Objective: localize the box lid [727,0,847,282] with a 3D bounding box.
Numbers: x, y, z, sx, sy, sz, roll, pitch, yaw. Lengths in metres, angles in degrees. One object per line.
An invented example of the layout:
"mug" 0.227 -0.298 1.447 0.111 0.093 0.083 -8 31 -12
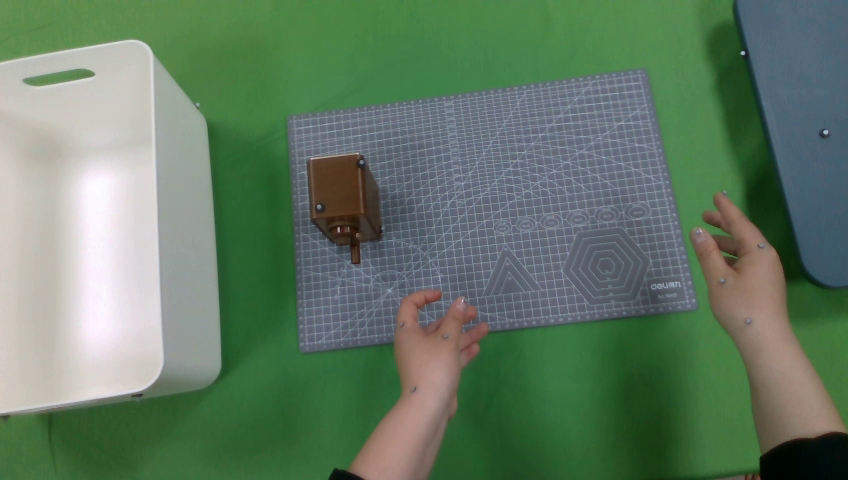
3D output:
"box lid" 0.499 -0.146 0.663 0.263 0.015 0.369 -7 76 2

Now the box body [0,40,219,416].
"box body" -0.377 -0.001 0.661 0.254 0.161 0.362 -10 76 2

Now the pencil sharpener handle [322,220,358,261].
"pencil sharpener handle" -0.085 0.002 0.650 0.036 0.068 0.030 -9 75 10

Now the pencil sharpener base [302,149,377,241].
"pencil sharpener base" -0.092 -0.044 0.674 0.061 0.107 0.076 -7 76 2
